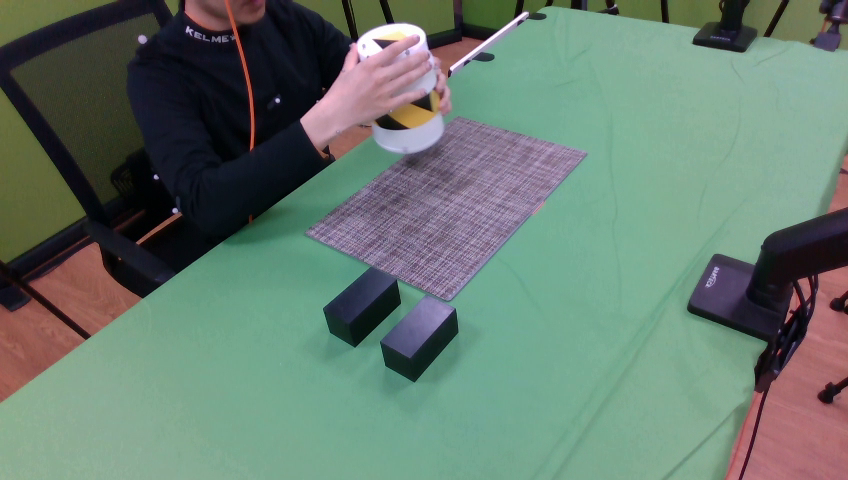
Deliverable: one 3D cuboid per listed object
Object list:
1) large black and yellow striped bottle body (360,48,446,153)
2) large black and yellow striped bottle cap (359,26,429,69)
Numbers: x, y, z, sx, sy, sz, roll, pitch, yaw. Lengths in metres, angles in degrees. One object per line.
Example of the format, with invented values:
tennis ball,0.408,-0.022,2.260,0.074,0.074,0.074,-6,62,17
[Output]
large black and yellow striped bottle body,-0.037,-0.259,1.052,0.130,0.185,0.130,-5,45,6
large black and yellow striped bottle cap,-0.050,-0.317,0.992,0.115,0.019,0.114,-5,44,5
